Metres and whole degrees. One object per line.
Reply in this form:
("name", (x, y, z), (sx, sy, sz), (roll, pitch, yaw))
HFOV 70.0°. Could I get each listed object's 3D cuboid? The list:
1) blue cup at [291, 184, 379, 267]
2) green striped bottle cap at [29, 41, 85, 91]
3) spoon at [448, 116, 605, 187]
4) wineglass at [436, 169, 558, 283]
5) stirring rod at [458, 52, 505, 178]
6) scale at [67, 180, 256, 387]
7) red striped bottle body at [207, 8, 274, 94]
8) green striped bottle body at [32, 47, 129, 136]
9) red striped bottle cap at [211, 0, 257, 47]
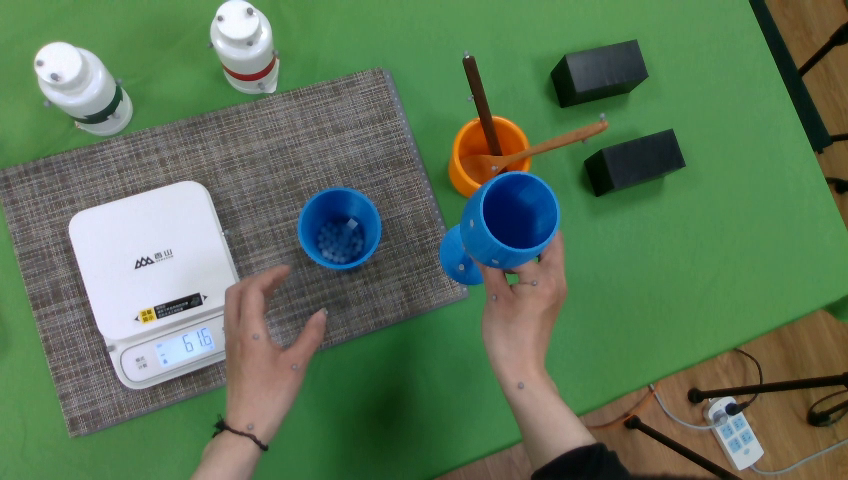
("blue cup", (-0.094, -0.008, 0.661), (0.093, 0.100, 0.092), (1, 82, -7))
("green striped bottle cap", (-0.350, -0.166, 0.578), (0.044, 0.020, 0.044), (1, 82, -8))
("spoon", (0.111, -0.101, 0.689), (0.022, 0.193, 0.041), (-23, 96, -55))
("wineglass", (0.056, -0.005, 0.527), (0.074, 0.172, 0.073), (2, 78, -9))
("stirring rod", (0.067, -0.134, 0.684), (0.014, 0.178, 0.005), (-6, 48, 19))
("scale", (-0.283, 0.044, 0.658), (0.149, 0.031, 0.200), (-20, 86, -11))
("red striped bottle body", (-0.201, -0.213, 0.667), (0.063, 0.120, 0.063), (2, 81, -10))
("green striped bottle body", (-0.359, -0.157, 0.633), (0.063, 0.119, 0.063), (1, 81, -9))
("red striped bottle cap", (-0.193, -0.220, 0.615), (0.044, 0.018, 0.044), (2, 79, -8))
